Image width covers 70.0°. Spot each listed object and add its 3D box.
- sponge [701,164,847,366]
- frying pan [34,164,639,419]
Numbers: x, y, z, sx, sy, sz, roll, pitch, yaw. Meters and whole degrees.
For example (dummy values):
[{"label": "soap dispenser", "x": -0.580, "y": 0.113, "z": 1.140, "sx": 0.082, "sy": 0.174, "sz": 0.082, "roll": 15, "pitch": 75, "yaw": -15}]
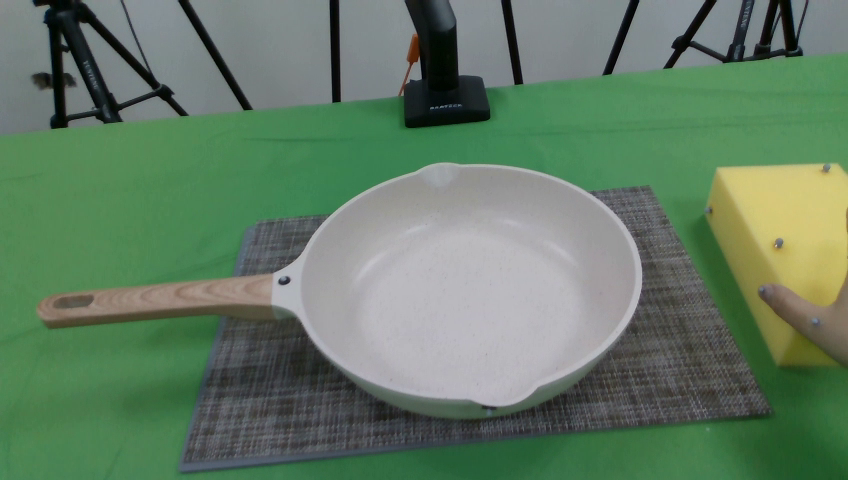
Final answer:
[{"label": "sponge", "x": 0.345, "y": 0.014, "z": 0.543, "sx": 0.118, "sy": 0.061, "sz": 0.205, "roll": -2, "pitch": 39, "yaw": 5}, {"label": "frying pan", "x": -0.068, "y": 0.042, "z": 0.522, "sx": 0.489, "sy": 0.103, "sz": 0.303, "roll": -2, "pitch": 38, "yaw": -8}]
